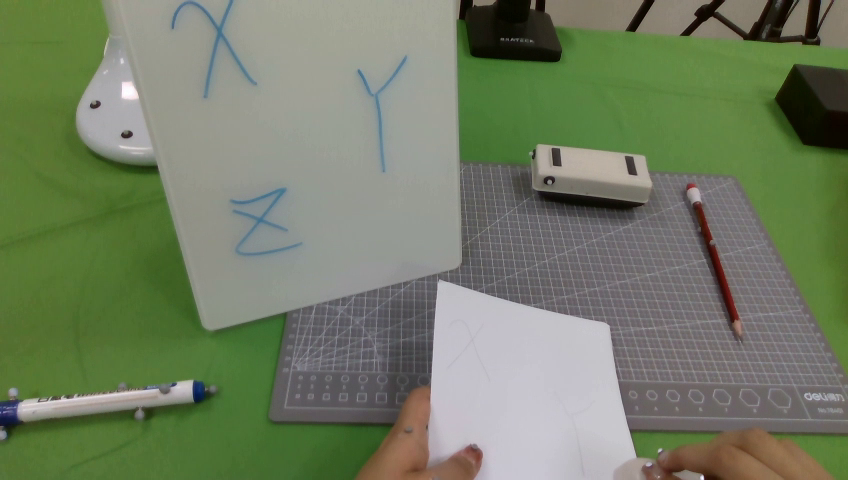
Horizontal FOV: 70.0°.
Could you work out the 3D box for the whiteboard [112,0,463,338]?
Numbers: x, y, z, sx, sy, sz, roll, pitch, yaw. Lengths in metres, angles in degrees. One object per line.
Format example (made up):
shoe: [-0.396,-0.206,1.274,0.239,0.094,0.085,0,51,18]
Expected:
whiteboard: [-0.098,-0.112,0.476,0.218,0.308,0.142,-13,30,-17]

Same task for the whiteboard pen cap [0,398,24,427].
whiteboard pen cap: [-0.282,0.114,0.397,0.033,0.018,0.018,-6,47,-11]

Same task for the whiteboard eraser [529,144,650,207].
whiteboard eraser: [0.162,-0.063,0.602,0.113,0.042,0.055,7,47,0]

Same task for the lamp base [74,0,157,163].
lamp base: [-0.275,-0.192,0.576,0.178,0.182,0.160,33,51,26]

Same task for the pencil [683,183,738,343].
pencil: [0.267,0.014,0.566,0.012,0.012,0.192,6,48,-1]

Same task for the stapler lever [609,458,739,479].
stapler lever: [0.173,0.159,0.375,0.118,0.040,0.026,8,49,-3]

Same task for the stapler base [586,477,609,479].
stapler base: [0.169,0.176,0.393,0.131,0.024,0.041,7,49,-3]

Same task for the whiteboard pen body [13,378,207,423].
whiteboard pen body: [-0.222,0.110,0.410,0.141,0.017,0.017,-5,47,-11]
